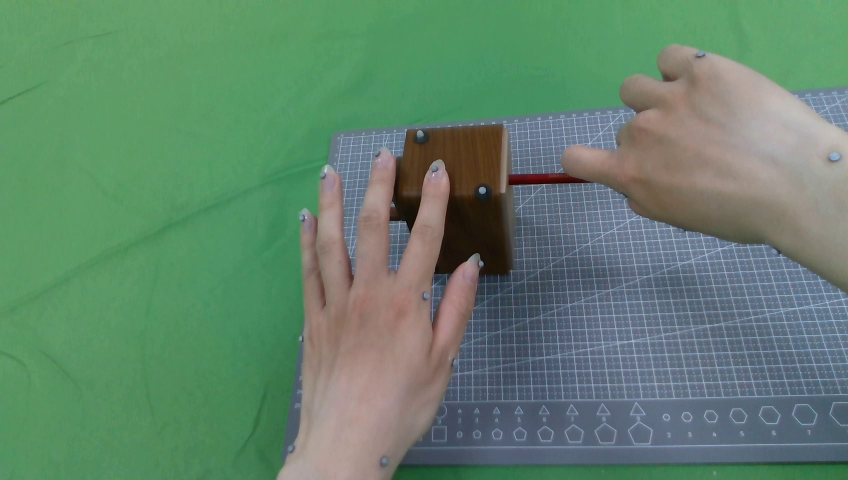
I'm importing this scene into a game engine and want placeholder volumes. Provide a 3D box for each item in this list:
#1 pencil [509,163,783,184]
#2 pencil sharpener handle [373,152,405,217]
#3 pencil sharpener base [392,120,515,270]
[{"bbox_3d":[0.127,-0.042,0.392,0.194,0.012,0.012,0,58,9],"label":"pencil"},{"bbox_3d":[-0.028,-0.035,0.433,0.030,0.068,0.035,0,63,11],"label":"pencil sharpener handle"},{"bbox_3d":[0.024,-0.028,0.433,0.076,0.108,0.061,0,59,11],"label":"pencil sharpener base"}]
